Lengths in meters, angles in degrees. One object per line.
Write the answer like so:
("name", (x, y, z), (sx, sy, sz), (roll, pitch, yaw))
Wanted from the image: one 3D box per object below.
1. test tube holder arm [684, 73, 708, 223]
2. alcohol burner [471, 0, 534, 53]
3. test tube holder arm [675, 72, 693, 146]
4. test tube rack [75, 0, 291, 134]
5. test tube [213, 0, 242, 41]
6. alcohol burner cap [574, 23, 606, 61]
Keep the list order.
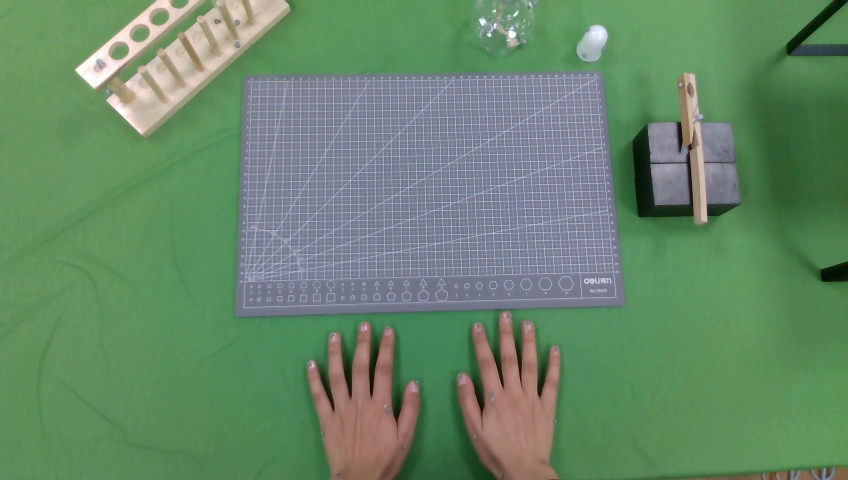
("test tube holder arm", (0.309, -0.107, 0.694), (0.013, 0.015, 0.177), (-1, 79, -10))
("alcohol burner", (0.096, -0.278, 0.723), (0.078, 0.119, 0.077), (1, 76, -3))
("test tube holder arm", (0.302, -0.151, 0.702), (0.010, 0.015, 0.087), (1, 78, -9))
("test tube rack", (-0.276, -0.243, 0.716), (0.066, 0.085, 0.242), (43, 80, 8))
("test tube", (-0.231, -0.273, 0.678), (0.017, 0.151, 0.017), (0, 74, -1))
("alcohol burner cap", (0.210, -0.250, 0.758), (0.034, 0.048, 0.033), (1, 77, -2))
